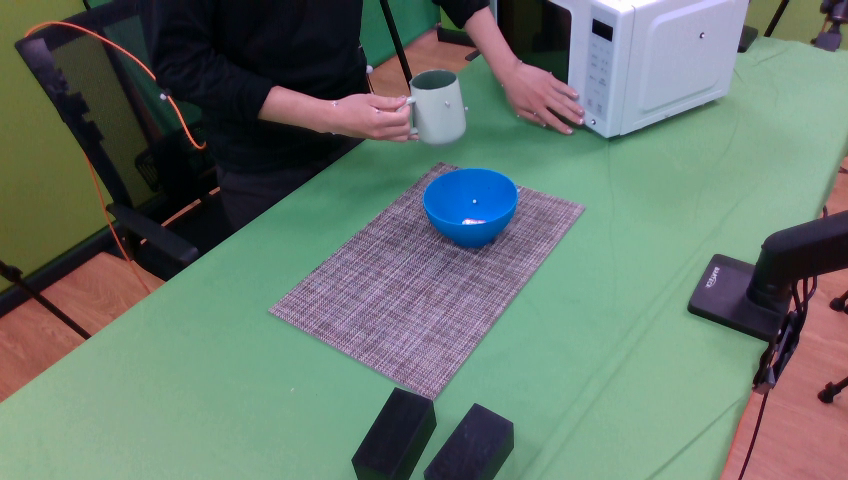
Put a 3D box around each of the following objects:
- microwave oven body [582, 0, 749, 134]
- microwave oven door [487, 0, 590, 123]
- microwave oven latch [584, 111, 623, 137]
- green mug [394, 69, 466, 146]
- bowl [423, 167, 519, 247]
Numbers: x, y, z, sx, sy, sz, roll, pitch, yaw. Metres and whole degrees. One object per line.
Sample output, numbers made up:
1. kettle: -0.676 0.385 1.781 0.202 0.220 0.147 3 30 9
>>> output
1. microwave oven body: 0.382 -0.445 1.246 0.327 0.261 0.437 -22 42 -16
2. microwave oven door: 0.232 -0.420 1.231 0.039 0.245 0.352 -22 43 -16
3. microwave oven latch: 0.337 -0.222 1.142 0.030 0.029 0.078 -21 42 -14
4. green mug: 0.008 -0.215 1.015 0.126 0.105 0.091 -25 42 -18
5. bowl: 0.075 -0.041 0.958 0.151 0.077 0.150 -4 40 4
